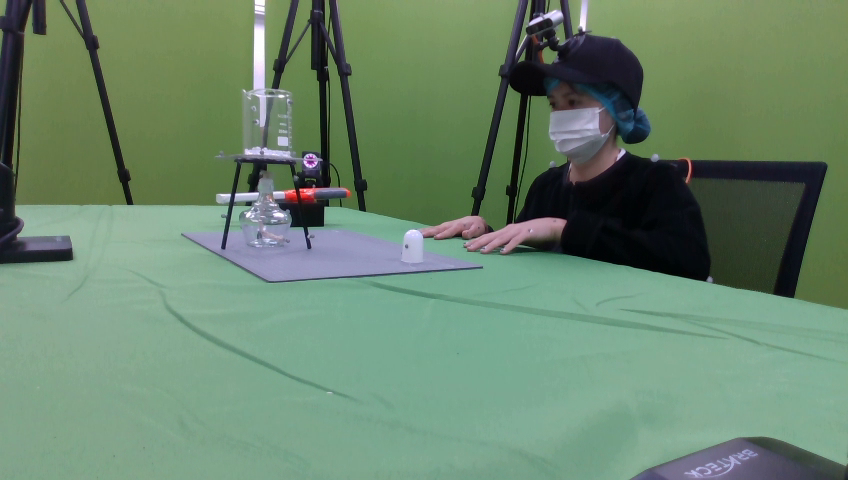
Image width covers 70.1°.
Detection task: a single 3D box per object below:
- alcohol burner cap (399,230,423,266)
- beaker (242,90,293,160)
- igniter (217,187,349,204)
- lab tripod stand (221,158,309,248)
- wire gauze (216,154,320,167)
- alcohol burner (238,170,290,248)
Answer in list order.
[{"bbox_3d":[-0.017,0.010,0.837,0.034,0.048,0.034,3,7,0],"label":"alcohol burner cap"},{"bbox_3d":[-0.235,-0.169,0.900,0.074,0.100,0.084,4,7,23],"label":"beaker"},{"bbox_3d":[-0.285,-0.093,1.256,0.278,0.025,0.057,-6,12,-34],"label":"igniter"},{"bbox_3d":[-0.244,-0.057,0.917,0.148,0.131,0.148,1,7,0],"label":"lab tripod stand"},{"bbox_3d":[-0.236,-0.121,0.906,0.126,0.011,0.121,0,8,-33],"label":"wire gauze"},{"bbox_3d":[-0.244,-0.048,0.927,0.078,0.119,0.078,3,5,0],"label":"alcohol burner"}]
